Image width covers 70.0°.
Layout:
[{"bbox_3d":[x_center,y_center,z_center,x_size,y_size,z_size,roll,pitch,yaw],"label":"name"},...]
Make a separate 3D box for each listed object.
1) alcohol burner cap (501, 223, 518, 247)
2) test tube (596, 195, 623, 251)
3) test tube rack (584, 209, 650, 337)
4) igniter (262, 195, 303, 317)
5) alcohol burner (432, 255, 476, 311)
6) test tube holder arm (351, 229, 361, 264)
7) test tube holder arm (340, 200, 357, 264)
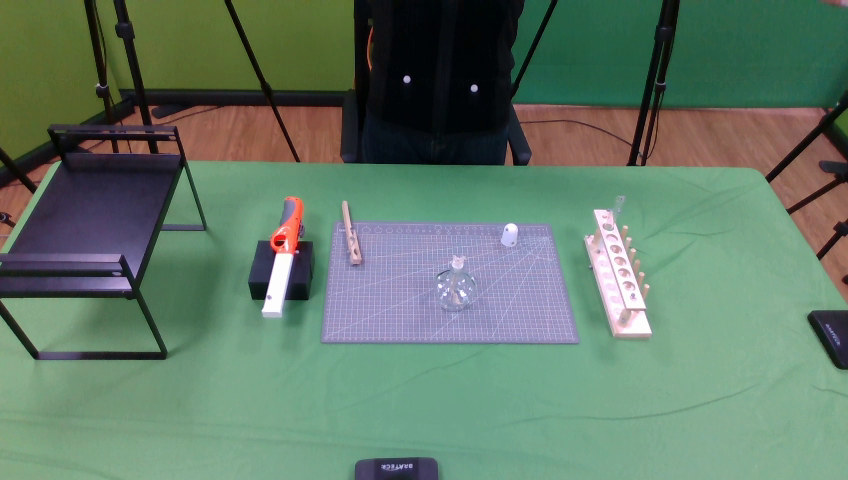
[{"bbox_3d":[0.172,-0.013,1.206,0.034,0.048,0.033,1,46,-1],"label":"alcohol burner cap"},{"bbox_3d":[0.347,-0.029,1.140,0.017,0.151,0.017,1,52,-1],"label":"test tube"},{"bbox_3d":[0.365,0.056,1.129,0.067,0.085,0.240,1,46,-4],"label":"test tube rack"},{"bbox_3d":[-0.253,0.020,1.090,0.057,0.025,0.275,0,49,-1],"label":"igniter"},{"bbox_3d":[0.055,0.070,1.068,0.078,0.119,0.077,3,45,-3],"label":"alcohol burner"},{"bbox_3d":[-0.135,0.012,1.175,0.010,0.015,0.087,10,38,-26],"label":"test tube holder arm"},{"bbox_3d":[-0.151,-0.019,1.204,0.013,0.015,0.177,10,39,-27],"label":"test tube holder arm"}]
